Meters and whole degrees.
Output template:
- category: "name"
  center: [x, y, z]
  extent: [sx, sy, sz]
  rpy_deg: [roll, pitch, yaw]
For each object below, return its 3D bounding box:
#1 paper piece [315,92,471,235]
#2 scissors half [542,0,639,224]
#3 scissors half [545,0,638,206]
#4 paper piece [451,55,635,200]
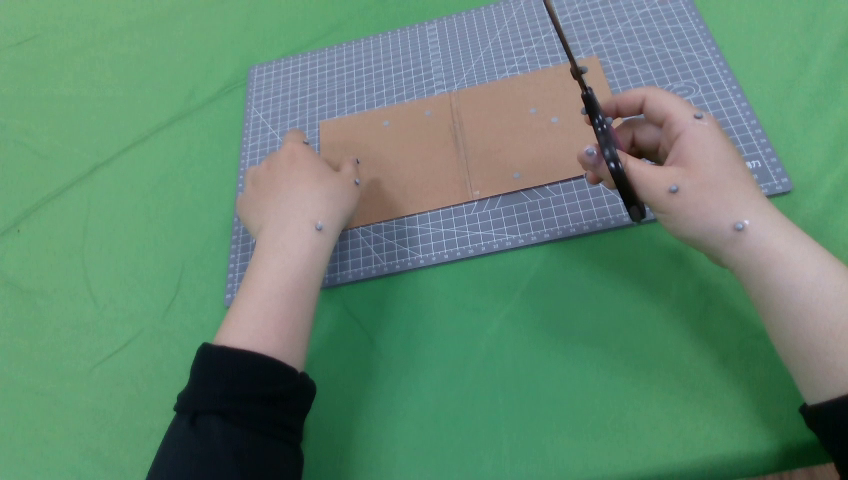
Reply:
- category: "paper piece"
  center: [-0.033, -0.073, 0.543]
  extent: [0.138, 0.009, 0.134]
  rpy_deg: [-13, 51, 9]
- category: "scissors half"
  center: [0.097, -0.089, 0.371]
  extent: [0.013, 0.040, 0.175]
  rpy_deg: [-22, 98, 20]
- category: "scissors half"
  center: [0.102, -0.097, 0.388]
  extent: [0.013, 0.176, 0.040]
  rpy_deg: [-20, 23, 25]
- category: "paper piece"
  center: [0.096, -0.102, 0.526]
  extent: [0.135, 0.004, 0.134]
  rpy_deg: [-12, 55, 9]
